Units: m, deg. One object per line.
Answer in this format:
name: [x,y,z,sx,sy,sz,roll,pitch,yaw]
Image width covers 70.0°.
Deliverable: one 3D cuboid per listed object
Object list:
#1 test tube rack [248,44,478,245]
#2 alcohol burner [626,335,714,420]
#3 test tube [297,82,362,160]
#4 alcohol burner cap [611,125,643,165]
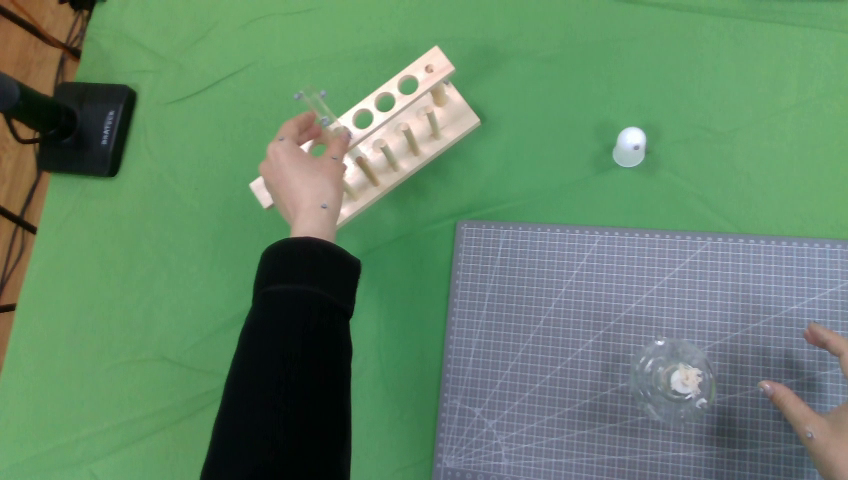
test tube rack: [-0.062,-0.098,0.659,0.242,0.085,0.066,-36,75,2]
alcohol burner: [0.224,0.123,0.547,0.078,0.120,0.077,-3,76,11]
test tube: [-0.092,-0.116,0.617,0.017,0.151,0.017,-3,73,12]
alcohol burner cap: [0.213,-0.102,0.631,0.034,0.048,0.033,-3,73,11]
